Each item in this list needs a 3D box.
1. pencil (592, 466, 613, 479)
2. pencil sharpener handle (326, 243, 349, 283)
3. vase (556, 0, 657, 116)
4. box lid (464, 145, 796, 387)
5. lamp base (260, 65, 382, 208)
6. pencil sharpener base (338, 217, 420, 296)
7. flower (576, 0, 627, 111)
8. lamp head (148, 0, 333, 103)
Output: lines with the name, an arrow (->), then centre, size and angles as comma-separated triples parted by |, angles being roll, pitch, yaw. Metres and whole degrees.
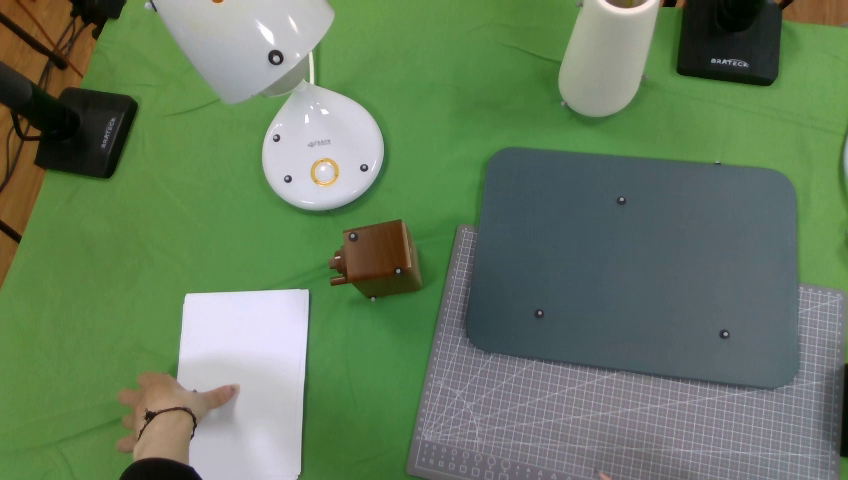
pencil -> 0.237, 0.286, 0.588 | 0.194, 0.012, 0.012 | 42, 82, 3
pencil sharpener handle -> -0.102, 0.031, 0.687 | 0.030, 0.068, 0.035 | -10, 61, 4
vase -> 0.209, -0.225, 0.692 | 0.098, 0.201, 0.097 | -1, 73, 5
box lid -> 0.244, 0.021, 0.716 | 0.371, 0.015, 0.262 | 6, 75, 8
lamp base -> -0.147, -0.150, 0.717 | 0.160, 0.181, 0.178 | -20, 70, 0
pencil sharpener base -> -0.050, 0.022, 0.697 | 0.076, 0.108, 0.061 | -10, 73, 4
flower -> 0.212, -0.260, 0.615 | 0.044, 0.364, 0.038 | -13, 61, -14
lamp head -> -0.144, -0.181, 0.438 | 0.112, 0.124, 0.111 | -28, 32, 20
